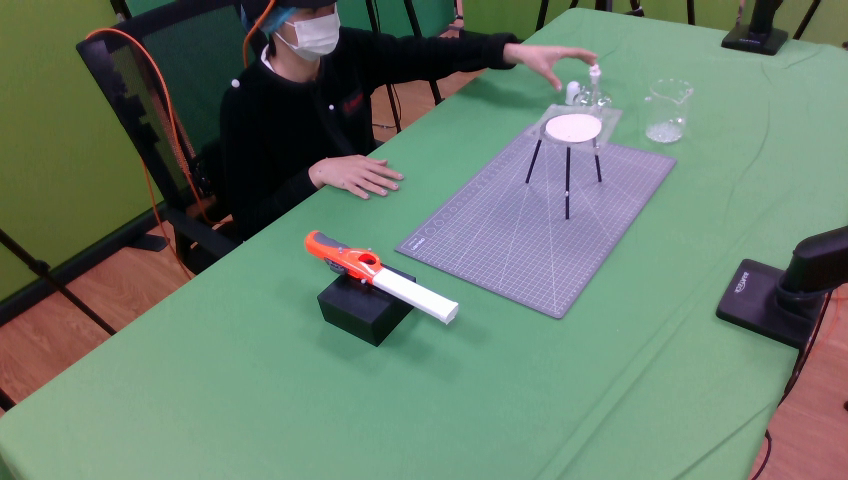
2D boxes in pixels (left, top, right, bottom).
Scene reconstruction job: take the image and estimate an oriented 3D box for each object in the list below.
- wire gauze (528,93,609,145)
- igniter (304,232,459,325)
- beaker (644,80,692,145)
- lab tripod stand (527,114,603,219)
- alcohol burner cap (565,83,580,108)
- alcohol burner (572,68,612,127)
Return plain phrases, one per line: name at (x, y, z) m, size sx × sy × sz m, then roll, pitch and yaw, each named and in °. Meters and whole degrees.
wire gauze at (0.225, -0.188, 0.943) m, size 0.121 × 0.011 × 0.124 m, roll 6°, pitch 48°, yaw 9°
igniter at (-0.070, 0.048, 0.853) m, size 0.274 × 0.025 × 0.057 m, roll 24°, pitch 48°, yaw 29°
beaker at (0.451, -0.233, 1.122) m, size 0.074 × 0.101 × 0.083 m, roll -8°, pitch 40°, yaw 1°
lab tripod stand at (0.234, -0.129, 1.002) m, size 0.148 × 0.132 × 0.147 m, roll -6°, pitch 40°, yaw 6°
alcohol burner cap at (0.314, -0.308, 1.278) m, size 0.034 × 0.048 × 0.033 m, roll -5°, pitch 44°, yaw 5°
alcohol burner at (0.333, -0.285, 1.192) m, size 0.078 × 0.119 × 0.077 m, roll -4°, pitch 42°, yaw 4°
